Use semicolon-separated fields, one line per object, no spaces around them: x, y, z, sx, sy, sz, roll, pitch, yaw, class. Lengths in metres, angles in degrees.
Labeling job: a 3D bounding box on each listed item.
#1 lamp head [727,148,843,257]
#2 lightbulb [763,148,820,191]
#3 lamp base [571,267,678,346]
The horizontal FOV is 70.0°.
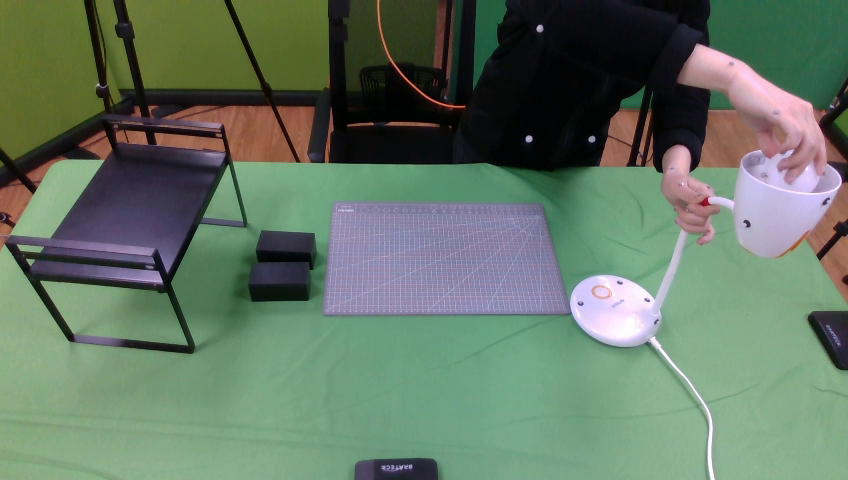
0.437;-0.042;0.759;0.112;0.123;0.111;1;40;-1;lamp head
0.441;-0.061;0.743;0.059;0.108;0.059;3;33;-2;lightbulb
0.359;0.077;1.038;0.160;0.181;0.178;-34;59;-31;lamp base
